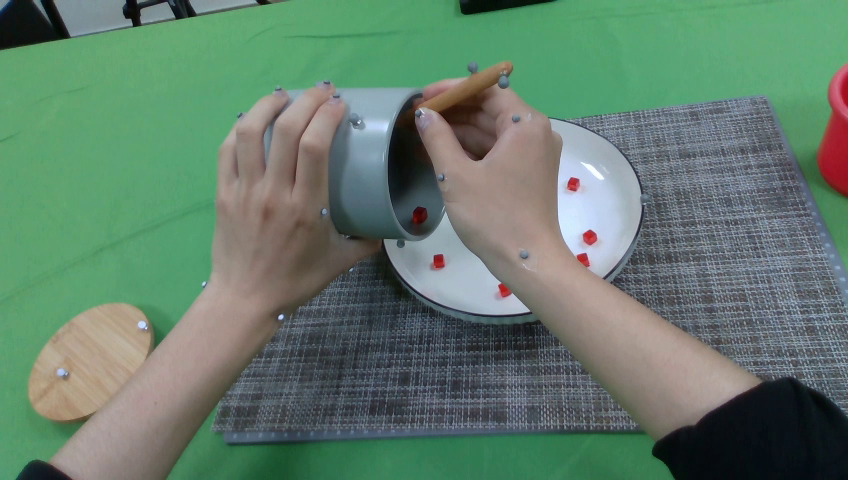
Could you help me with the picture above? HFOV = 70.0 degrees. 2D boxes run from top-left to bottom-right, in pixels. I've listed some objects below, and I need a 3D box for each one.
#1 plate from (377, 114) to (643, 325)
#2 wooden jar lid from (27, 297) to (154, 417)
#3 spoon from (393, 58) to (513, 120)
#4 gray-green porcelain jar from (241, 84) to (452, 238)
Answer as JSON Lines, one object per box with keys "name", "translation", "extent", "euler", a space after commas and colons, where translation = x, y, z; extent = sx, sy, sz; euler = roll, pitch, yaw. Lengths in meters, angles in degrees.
{"name": "plate", "translation": [0.066, -0.018, 0.490], "extent": [0.207, 0.039, 0.205], "euler": [-7, 51, 9]}
{"name": "wooden jar lid", "translation": [-0.275, 0.097, 0.507], "extent": [0.108, 0.021, 0.107], "euler": [-6, 52, 8]}
{"name": "spoon", "translation": [-0.018, -0.087, 0.398], "extent": [0.192, 0.022, 0.041], "euler": [-4, 47, 42]}
{"name": "gray-green porcelain jar", "translation": [-0.058, -0.059, 0.440], "extent": [0.126, 0.107, 0.105], "euler": [7, 55, 25]}
